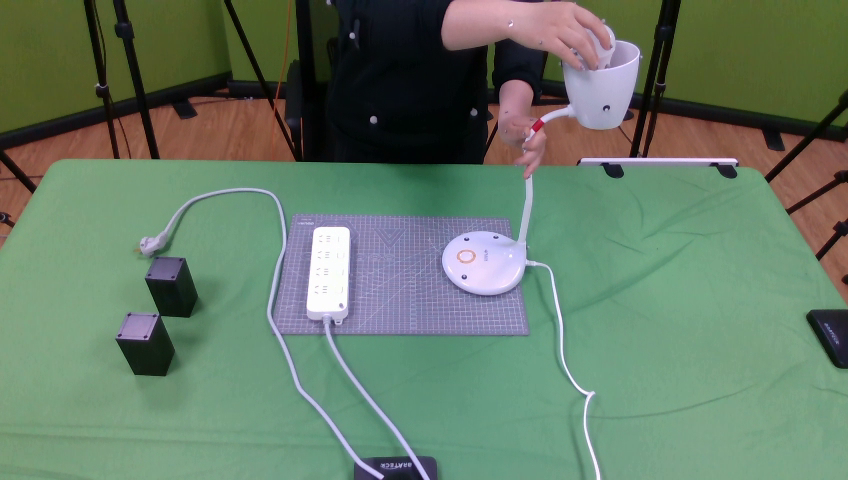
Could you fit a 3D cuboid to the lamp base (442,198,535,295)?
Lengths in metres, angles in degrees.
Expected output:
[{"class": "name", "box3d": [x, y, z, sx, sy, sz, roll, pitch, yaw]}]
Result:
[{"class": "lamp base", "box3d": [0.130, -0.012, 1.105, 0.179, 0.181, 0.159, -1, 46, -9]}]

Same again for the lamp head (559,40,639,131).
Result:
[{"class": "lamp head", "box3d": [0.264, -0.229, 0.928, 0.112, 0.123, 0.112, -4, 37, 3]}]

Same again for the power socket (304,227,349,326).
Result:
[{"class": "power socket", "box3d": [-0.177, 0.059, 1.115, 0.072, 0.033, 0.225, -1, 46, -4]}]

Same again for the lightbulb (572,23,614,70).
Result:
[{"class": "lightbulb", "box3d": [0.255, -0.267, 0.902, 0.059, 0.108, 0.059, -14, 32, 9]}]

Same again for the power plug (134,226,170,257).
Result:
[{"class": "power plug", "box3d": [-0.515, 0.006, 1.153, 0.052, 0.035, 0.072, -6, 24, 7]}]
